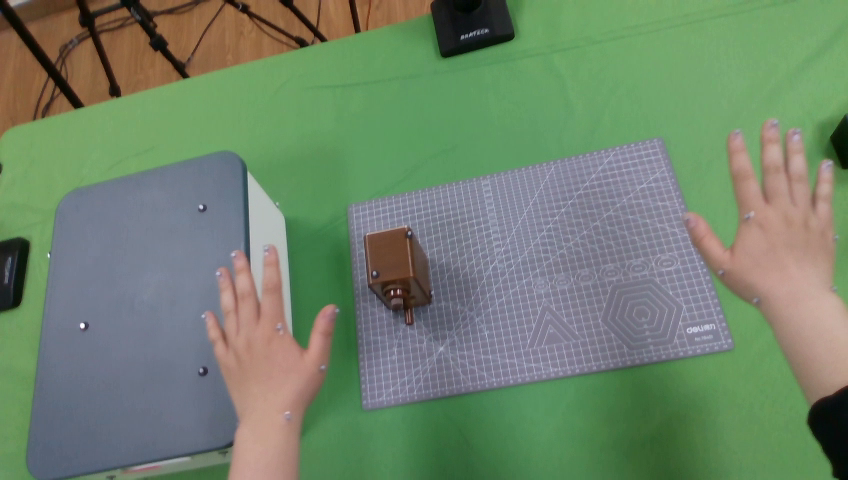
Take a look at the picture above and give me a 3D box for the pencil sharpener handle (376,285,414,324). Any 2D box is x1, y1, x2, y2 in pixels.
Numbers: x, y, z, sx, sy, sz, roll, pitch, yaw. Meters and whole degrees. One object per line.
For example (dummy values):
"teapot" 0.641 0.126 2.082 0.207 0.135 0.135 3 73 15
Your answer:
"pencil sharpener handle" -0.030 0.079 0.732 0.036 0.068 0.030 -18 63 20

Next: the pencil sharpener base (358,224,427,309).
"pencil sharpener base" -0.038 0.039 0.765 0.061 0.108 0.076 -11 65 7

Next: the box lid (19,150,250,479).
"box lid" -0.331 0.071 0.705 0.263 0.015 0.368 -13 65 6

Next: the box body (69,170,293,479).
"box body" -0.316 0.103 0.771 0.254 0.162 0.361 -13 65 6
